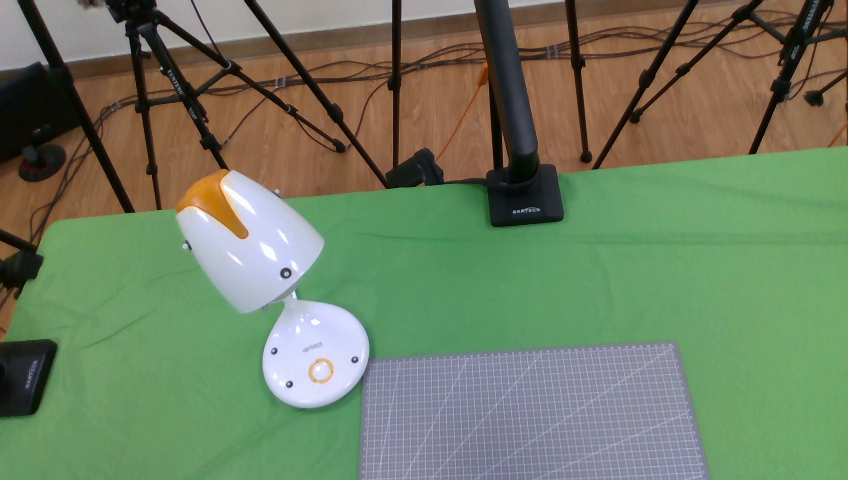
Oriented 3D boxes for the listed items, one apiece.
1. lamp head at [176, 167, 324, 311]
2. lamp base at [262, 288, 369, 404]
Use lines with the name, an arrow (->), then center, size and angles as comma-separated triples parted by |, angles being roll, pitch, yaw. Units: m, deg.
lamp head -> -0.177, -0.011, 0.589 | 0.112, 0.124, 0.111 | -34, 18, 14
lamp base -> -0.179, 0.116, 0.844 | 0.160, 0.182, 0.177 | -30, 56, -11
